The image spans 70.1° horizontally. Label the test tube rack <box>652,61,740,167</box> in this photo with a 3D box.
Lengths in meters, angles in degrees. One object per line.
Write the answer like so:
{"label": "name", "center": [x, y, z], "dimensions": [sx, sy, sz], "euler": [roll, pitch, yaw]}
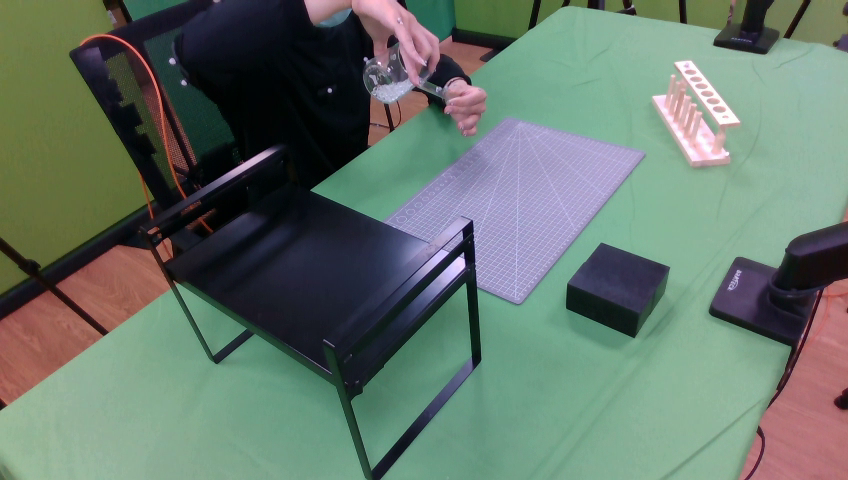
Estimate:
{"label": "test tube rack", "center": [0.499, -0.242, 1.130], "dimensions": [0.067, 0.085, 0.241], "euler": [-5, 41, 3]}

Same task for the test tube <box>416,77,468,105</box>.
{"label": "test tube", "center": [0.034, -0.256, 1.044], "dimensions": [0.017, 0.017, 0.152], "euler": [25, 13, 32]}

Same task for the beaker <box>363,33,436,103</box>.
{"label": "beaker", "center": [-0.038, -0.261, 0.933], "dimensions": [0.073, 0.084, 0.100], "euler": [16, 45, 32]}
